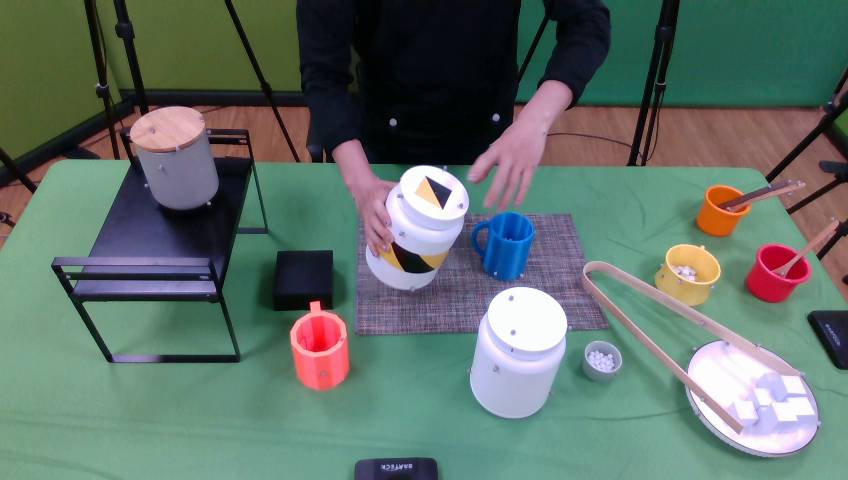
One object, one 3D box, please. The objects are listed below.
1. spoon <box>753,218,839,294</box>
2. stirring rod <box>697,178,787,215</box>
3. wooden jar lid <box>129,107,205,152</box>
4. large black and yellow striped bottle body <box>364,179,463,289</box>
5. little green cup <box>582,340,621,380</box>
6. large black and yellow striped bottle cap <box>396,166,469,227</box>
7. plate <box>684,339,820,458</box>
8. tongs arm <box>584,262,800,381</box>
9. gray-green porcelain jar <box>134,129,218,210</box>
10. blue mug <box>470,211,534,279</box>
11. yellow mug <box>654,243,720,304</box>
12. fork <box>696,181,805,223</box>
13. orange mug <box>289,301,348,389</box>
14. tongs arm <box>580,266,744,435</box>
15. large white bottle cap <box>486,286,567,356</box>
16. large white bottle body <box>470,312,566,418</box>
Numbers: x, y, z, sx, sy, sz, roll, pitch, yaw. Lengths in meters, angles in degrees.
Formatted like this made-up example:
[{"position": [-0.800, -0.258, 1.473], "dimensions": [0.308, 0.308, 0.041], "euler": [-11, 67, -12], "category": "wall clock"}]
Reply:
[{"position": [0.700, 0.031, 1.138], "dimensions": [0.194, 0.022, 0.041], "euler": [-47, 55, 14], "category": "spoon"}, {"position": [0.650, -0.088, 1.246], "dimensions": [0.006, 0.176, 0.014], "euler": [29, 50, -39], "category": "stirring rod"}, {"position": [-0.385, -0.163, 0.915], "dimensions": [0.108, 0.021, 0.107], "euler": [2, 47, -2], "category": "wooden jar lid"}, {"position": [-0.014, -0.018, 1.000], "dimensions": [0.131, 0.184, 0.130], "euler": [13, 48, -15], "category": "large black and yellow striped bottle body"}, {"position": [0.295, 0.203, 1.014], "dimensions": [0.061, 0.039, 0.061], "euler": [2, 45, -2], "category": "little green cup"}, {"position": [0.014, -0.069, 0.940], "dimensions": [0.115, 0.019, 0.114], "euler": [12, 48, -14], "category": "large black and yellow striped bottle cap"}, {"position": [0.523, 0.256, 0.982], "dimensions": [0.208, 0.039, 0.206], "euler": [2, 46, -2], "category": "plate"}, {"position": [0.452, 0.137, 1.064], "dimensions": [0.051, 0.027, 0.382], "euler": [-34, 50, -26], "category": "tongs arm"}, {"position": [-0.388, -0.120, 0.960], "dimensions": [0.106, 0.127, 0.105], "euler": [2, 46, -2], "category": "gray-green porcelain jar"}, {"position": [0.141, 0.005, 1.140], "dimensions": [0.116, 0.106, 0.082], "euler": [18, 48, 13], "category": "blue mug"}, {"position": [0.504, 0.054, 1.154], "dimensions": [0.099, 0.064, 0.130], "euler": [28, 50, 22], "category": "yellow mug"}, {"position": [0.659, -0.077, 1.231], "dimensions": [0.207, 0.019, 0.028], "euler": [-26, 35, 34], "category": "fork"}, {"position": [-0.170, 0.162, 0.976], "dimensions": [0.083, 0.101, 0.125], "euler": [-8, 52, -11], "category": "orange mug"}, {"position": [0.384, 0.174, 1.029], "dimensions": [0.028, 0.028, 0.385], "euler": [-26, 46, -14], "category": "tongs arm"}, {"position": [0.147, 0.114, 0.869], "dimensions": [0.115, 0.018, 0.114], "euler": [3, 46, -3], "category": "large white bottle cap"}, {"position": [0.143, 0.174, 0.930], "dimensions": [0.131, 0.185, 0.130], "euler": [2, 46, -2], "category": "large white bottle body"}]
